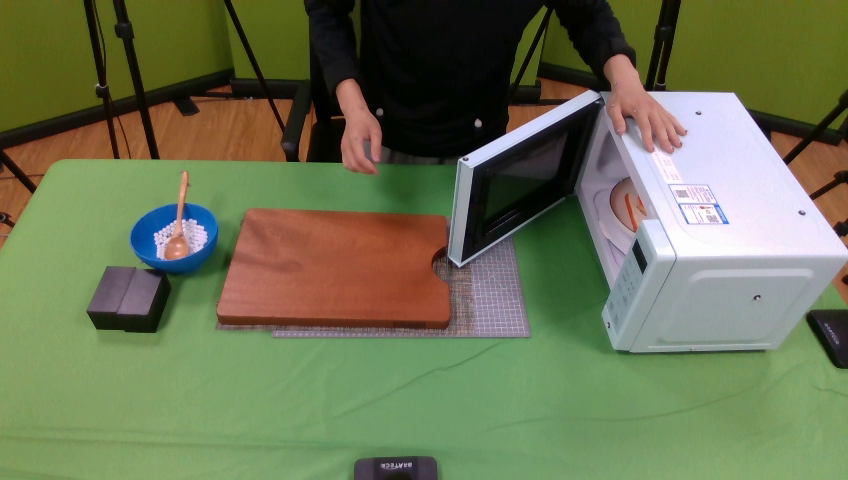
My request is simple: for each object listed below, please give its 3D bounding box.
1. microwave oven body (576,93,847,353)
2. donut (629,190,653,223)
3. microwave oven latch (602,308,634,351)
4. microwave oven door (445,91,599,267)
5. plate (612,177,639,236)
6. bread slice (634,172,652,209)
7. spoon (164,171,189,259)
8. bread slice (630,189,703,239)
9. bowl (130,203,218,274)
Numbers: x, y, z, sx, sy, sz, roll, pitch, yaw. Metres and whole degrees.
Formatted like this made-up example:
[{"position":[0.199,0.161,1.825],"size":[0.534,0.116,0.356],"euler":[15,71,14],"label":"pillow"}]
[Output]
[{"position":[0.475,-0.041,1.109],"size":[0.326,0.261,0.438],"euler":[-1,45,-4],"label":"microwave oven body"},{"position":[0.443,-0.059,1.163],"size":[0.099,0.048,0.098],"euler":[1,50,-1],"label":"donut"},{"position":[0.332,0.153,1.044],"size":[0.030,0.029,0.078],"euler":[-1,45,-4],"label":"microwave oven latch"},{"position":[0.191,-0.120,1.157],"size":[0.356,0.245,0.039],"euler":[-31,55,-30],"label":"microwave oven door"},{"position":[0.472,-0.051,1.187],"size":[0.208,0.039,0.206],"euler":[-1,45,1],"label":"plate"},{"position":[0.464,-0.086,1.136],"size":[0.134,0.018,0.106],"euler":[8,43,-11],"label":"bread slice"},{"position":[-0.452,-0.046,1.129],"size":[0.041,0.022,0.193],"euler":[-1,69,-3],"label":"spoon"},{"position":[0.478,-0.052,1.189],"size":[0.131,0.019,0.104],"euler":[18,47,13],"label":"bread slice"},{"position":[-0.451,0.010,1.116],"size":[0.151,0.077,0.150],"euler":[3,45,-2],"label":"bowl"}]
